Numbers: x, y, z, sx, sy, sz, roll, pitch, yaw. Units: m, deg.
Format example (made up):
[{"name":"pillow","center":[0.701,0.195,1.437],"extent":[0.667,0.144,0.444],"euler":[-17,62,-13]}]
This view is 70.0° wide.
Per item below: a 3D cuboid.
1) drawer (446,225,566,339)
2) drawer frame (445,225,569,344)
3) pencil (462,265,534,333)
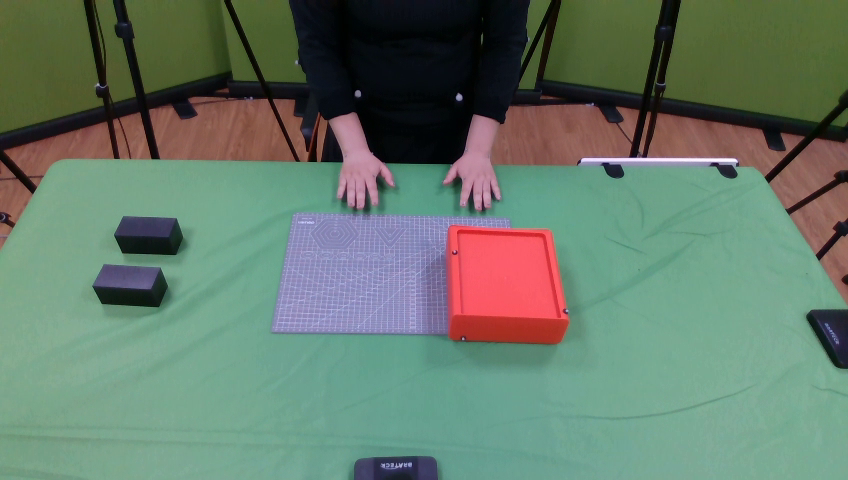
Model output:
[{"name":"drawer","center":[0.139,0.073,1.094],"extent":[0.194,0.073,0.210],"euler":[3,47,-3]},{"name":"drawer frame","center":[0.141,0.076,1.089],"extent":[0.202,0.083,0.212],"euler":[3,47,-4]},{"name":"pencil","center":[0.130,0.104,1.098],"extent":[0.012,0.012,0.193],"euler":[-26,51,-26]}]
